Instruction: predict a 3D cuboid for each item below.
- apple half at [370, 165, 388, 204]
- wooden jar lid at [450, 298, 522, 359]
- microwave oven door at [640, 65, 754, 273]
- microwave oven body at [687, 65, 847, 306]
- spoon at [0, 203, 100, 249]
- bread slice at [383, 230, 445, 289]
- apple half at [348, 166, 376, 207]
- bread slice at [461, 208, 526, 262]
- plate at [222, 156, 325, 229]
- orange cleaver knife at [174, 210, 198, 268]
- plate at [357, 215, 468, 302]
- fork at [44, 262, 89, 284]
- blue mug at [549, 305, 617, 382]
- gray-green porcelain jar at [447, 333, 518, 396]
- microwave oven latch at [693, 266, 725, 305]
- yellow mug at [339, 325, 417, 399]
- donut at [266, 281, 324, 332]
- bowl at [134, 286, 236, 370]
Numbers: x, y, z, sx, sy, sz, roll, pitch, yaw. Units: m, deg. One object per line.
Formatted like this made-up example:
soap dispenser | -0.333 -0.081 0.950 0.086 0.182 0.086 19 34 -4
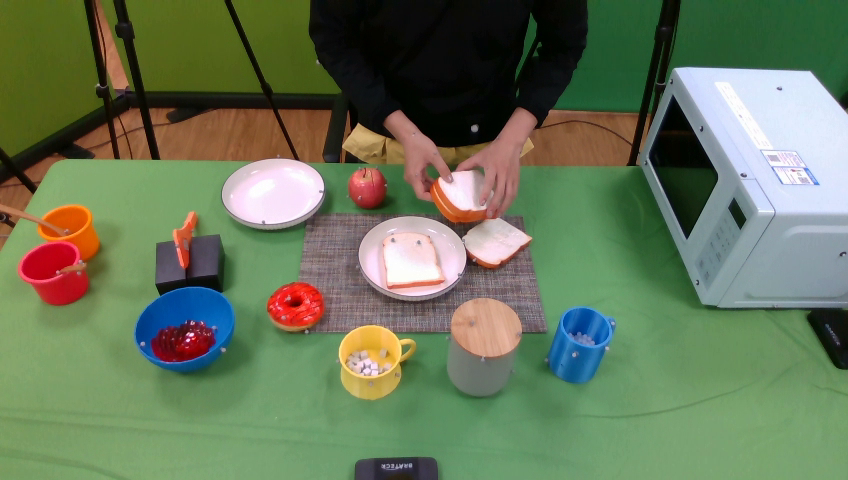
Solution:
apple half | -0.091 -0.115 1.261 0.033 0.082 0.080 -9 48 -4
wooden jar lid | 0.093 0.135 0.914 0.108 0.021 0.107 2 48 -3
microwave oven door | 0.523 -0.147 1.193 0.039 0.245 0.353 0 47 -3
microwave oven body | 0.669 -0.111 1.176 0.326 0.261 0.439 0 46 -3
spoon | -0.683 -0.031 1.088 0.021 0.195 0.041 -35 43 26
bread slice | -0.028 0.035 1.145 0.107 0.018 0.133 -8 49 -11
apple half | -0.130 -0.109 1.254 0.053 0.075 0.080 -10 50 -7
bread slice | 0.127 -0.008 1.194 0.104 0.019 0.131 19 49 26
plate | -0.308 -0.095 1.251 0.209 0.038 0.208 2 47 -2
orange cleaver knife | -0.436 -0.006 1.127 0.012 0.077 0.210 -13 19 -8
plate | -0.022 0.037 1.141 0.208 0.039 0.206 2 46 -2
fork | -0.599 0.053 1.014 0.207 0.019 0.028 -14 29 45
blue mug | 0.269 0.166 0.998 0.116 0.106 0.082 -19 51 -21
gray-green porcelain jar | 0.091 0.178 0.960 0.106 0.127 0.105 2 46 -2
microwave oven latch | 0.523 0.082 1.115 0.030 0.029 0.078 3 46 0
yellow mug | -0.072 0.190 0.978 0.131 0.064 0.099 -17 50 -20
donut | -0.222 0.115 1.049 0.099 0.048 0.098 2 46 -2
bowl | -0.377 0.155 0.981 0.151 0.077 0.150 2 46 -2
